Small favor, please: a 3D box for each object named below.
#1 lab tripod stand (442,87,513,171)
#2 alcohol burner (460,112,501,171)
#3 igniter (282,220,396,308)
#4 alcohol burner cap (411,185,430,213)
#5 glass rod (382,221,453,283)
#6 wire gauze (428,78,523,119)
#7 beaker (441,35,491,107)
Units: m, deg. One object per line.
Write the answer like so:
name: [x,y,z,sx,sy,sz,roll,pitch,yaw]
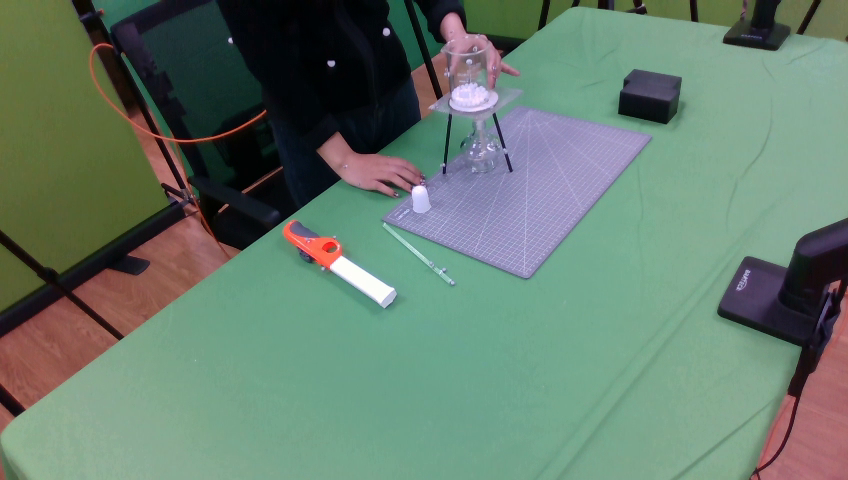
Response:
lab tripod stand: [0.097,-0.200,1.108,0.148,0.132,0.147,-4,40,4]
alcohol burner: [0.103,-0.186,1.106,0.078,0.119,0.077,-4,42,4]
igniter: [-0.146,0.032,0.966,0.274,0.025,0.057,30,65,37]
alcohol burner cap: [-0.008,-0.074,1.050,0.034,0.048,0.033,-4,40,4]
glass rod: [-0.014,0.016,0.976,0.008,0.008,0.198,-29,44,-22]
wire gauze: [0.090,-0.248,1.064,0.120,0.011,0.125,24,47,30]
beaker: [0.074,-0.287,1.036,0.084,0.101,0.073,-1,41,8]
